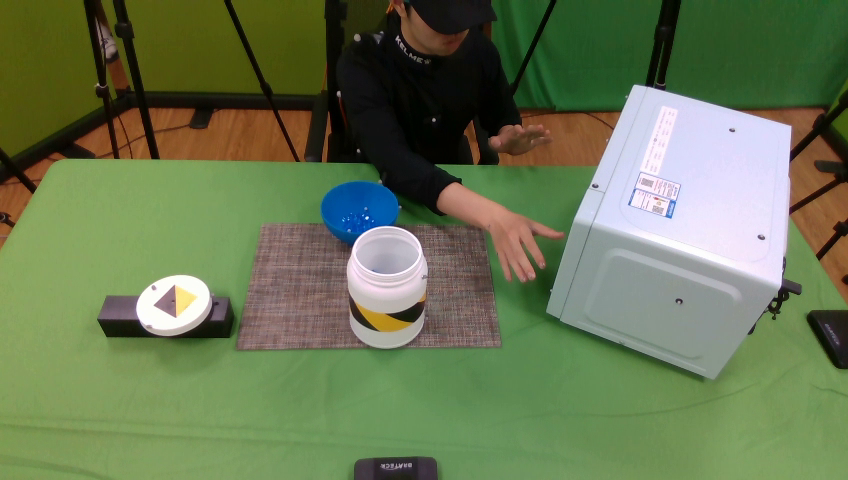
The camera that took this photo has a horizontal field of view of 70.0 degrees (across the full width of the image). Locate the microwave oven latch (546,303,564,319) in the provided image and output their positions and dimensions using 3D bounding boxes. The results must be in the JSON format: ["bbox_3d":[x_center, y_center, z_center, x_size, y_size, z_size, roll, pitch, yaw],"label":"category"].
[{"bbox_3d":[0.242,0.102,1.081,0.030,0.029,0.079,21,48,17],"label":"microwave oven latch"}]

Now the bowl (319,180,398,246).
[{"bbox_3d":[-0.126,-0.039,1.180,0.151,0.077,0.150,3,46,-2],"label":"bowl"}]

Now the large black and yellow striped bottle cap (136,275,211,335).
[{"bbox_3d":[-0.412,0.105,0.999,0.115,0.019,0.114,3,46,-3],"label":"large black and yellow striped bottle cap"}]

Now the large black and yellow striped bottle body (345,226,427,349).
[{"bbox_3d":[-0.062,0.078,0.998,0.131,0.185,0.130,2,46,-2],"label":"large black and yellow striped bottle body"}]

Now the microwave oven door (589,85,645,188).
[{"bbox_3d":[0.342,-0.107,1.149,0.039,0.245,0.354,20,48,15],"label":"microwave oven door"}]

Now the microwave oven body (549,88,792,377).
[{"bbox_3d":[0.456,-0.028,1.088,0.325,0.261,0.440,20,47,16],"label":"microwave oven body"}]
